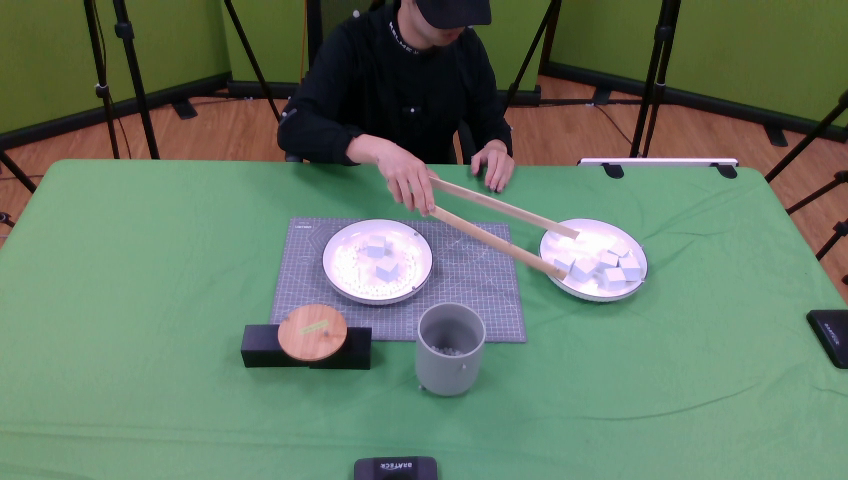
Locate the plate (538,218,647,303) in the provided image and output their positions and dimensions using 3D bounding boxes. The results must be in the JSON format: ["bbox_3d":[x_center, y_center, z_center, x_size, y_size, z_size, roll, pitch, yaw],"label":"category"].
[{"bbox_3d":[0.322,0.042,1.171,0.208,0.039,0.206,2,46,-2],"label":"plate"}]

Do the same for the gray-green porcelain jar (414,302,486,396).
[{"bbox_3d":[0.038,0.177,0.958,0.106,0.127,0.105,2,46,-2],"label":"gray-green porcelain jar"}]

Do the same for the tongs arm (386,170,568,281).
[{"bbox_3d":[0.093,-0.029,1.136,0.384,0.026,0.050,26,47,8],"label":"tongs arm"}]

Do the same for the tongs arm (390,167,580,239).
[{"bbox_3d":[0.118,-0.072,1.184,0.387,0.028,0.028,19,50,1],"label":"tongs arm"}]

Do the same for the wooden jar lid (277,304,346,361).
[{"bbox_3d":[-0.179,0.150,0.972,0.108,0.021,0.107,2,45,-2],"label":"wooden jar lid"}]

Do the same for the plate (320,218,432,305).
[{"bbox_3d":[-0.089,0.044,1.134,0.209,0.038,0.208,3,46,-2],"label":"plate"}]
